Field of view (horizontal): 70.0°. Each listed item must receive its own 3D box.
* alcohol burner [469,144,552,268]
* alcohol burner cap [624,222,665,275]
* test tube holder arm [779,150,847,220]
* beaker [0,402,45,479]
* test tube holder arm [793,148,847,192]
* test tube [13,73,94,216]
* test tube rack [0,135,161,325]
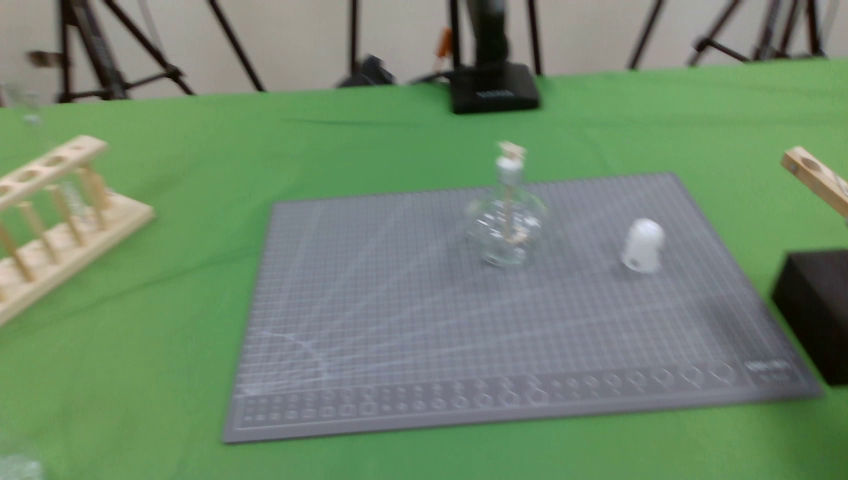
[{"bbox_3d":[0.080,-0.034,0.555,0.078,0.120,0.077,-2,38,2],"label":"alcohol burner"},{"bbox_3d":[0.205,0.006,0.558,0.034,0.048,0.033,-2,39,2],"label":"alcohol burner cap"},{"bbox_3d":[0.303,-0.036,0.453,0.010,0.015,0.087,-25,51,-6],"label":"test tube holder arm"},{"bbox_3d":[-0.303,0.138,0.388,0.084,0.101,0.073,-20,43,-18],"label":"beaker"},{"bbox_3d":[0.325,-0.008,0.425,0.013,0.015,0.176,-25,51,-7],"label":"test tube holder arm"},{"bbox_3d":[-0.359,-0.088,0.593,0.017,0.151,0.017,-4,35,3],"label":"test tube"},{"bbox_3d":[-0.378,-0.001,0.569,0.066,0.086,0.241,20,45,24],"label":"test tube rack"}]
